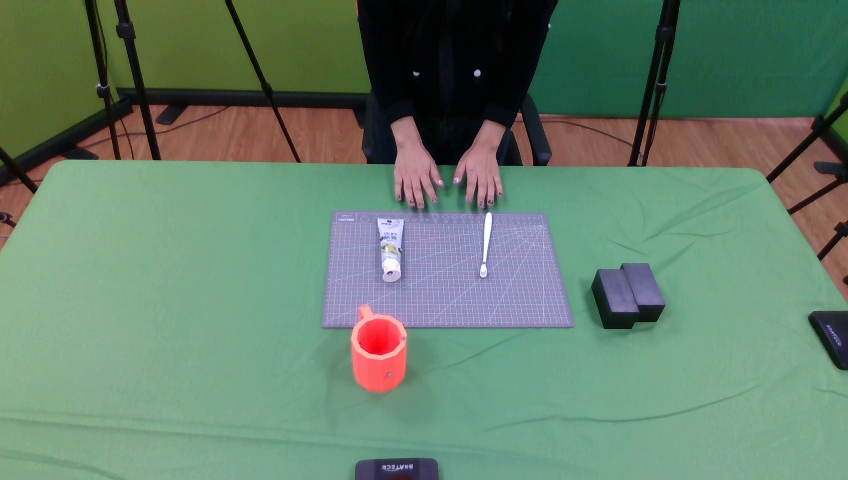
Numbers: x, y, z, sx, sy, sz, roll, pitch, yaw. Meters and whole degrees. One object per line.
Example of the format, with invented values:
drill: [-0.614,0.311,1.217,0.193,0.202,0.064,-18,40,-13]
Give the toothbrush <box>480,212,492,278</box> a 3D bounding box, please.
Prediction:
toothbrush: [0.124,0.004,1.203,0.014,0.017,0.181,-2,43,13]

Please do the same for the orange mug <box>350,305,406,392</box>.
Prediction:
orange mug: [-0.080,0.168,0.978,0.083,0.101,0.125,-16,54,-18]

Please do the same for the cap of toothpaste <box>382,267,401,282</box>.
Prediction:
cap of toothpaste: [-0.060,0.063,1.119,0.037,0.037,0.011,-9,50,-12]

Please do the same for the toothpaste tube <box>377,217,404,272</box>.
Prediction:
toothpaste tube: [-0.063,0.008,1.179,0.055,0.034,0.164,5,42,-9]
